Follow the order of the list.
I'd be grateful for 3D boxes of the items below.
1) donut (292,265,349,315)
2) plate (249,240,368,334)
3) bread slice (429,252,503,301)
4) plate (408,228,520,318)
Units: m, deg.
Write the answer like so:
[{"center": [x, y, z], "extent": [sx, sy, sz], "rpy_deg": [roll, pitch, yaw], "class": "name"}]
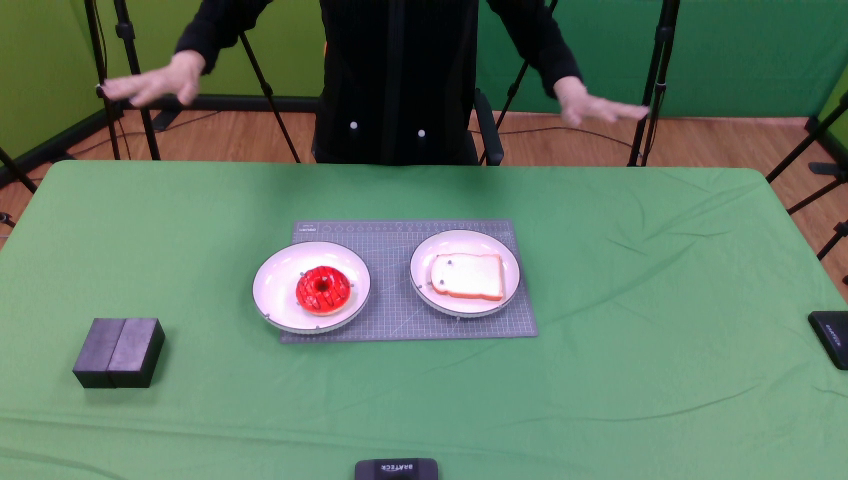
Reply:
[{"center": [-0.182, 0.089, 1.067], "extent": [0.099, 0.048, 0.098], "rpy_deg": [3, 50, -4], "class": "donut"}, {"center": [-0.204, 0.086, 1.084], "extent": [0.208, 0.039, 0.206], "rpy_deg": [2, 46, -2], "class": "plate"}, {"center": [0.077, 0.067, 1.126], "extent": [0.134, 0.018, 0.106], "rpy_deg": [1, 46, -4], "class": "bread slice"}, {"center": [0.074, 0.063, 1.128], "extent": [0.209, 0.038, 0.208], "rpy_deg": [2, 46, -2], "class": "plate"}]
